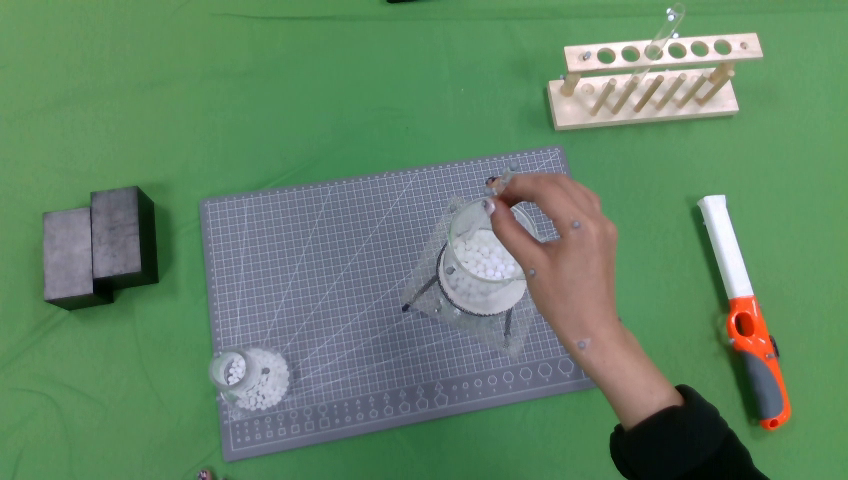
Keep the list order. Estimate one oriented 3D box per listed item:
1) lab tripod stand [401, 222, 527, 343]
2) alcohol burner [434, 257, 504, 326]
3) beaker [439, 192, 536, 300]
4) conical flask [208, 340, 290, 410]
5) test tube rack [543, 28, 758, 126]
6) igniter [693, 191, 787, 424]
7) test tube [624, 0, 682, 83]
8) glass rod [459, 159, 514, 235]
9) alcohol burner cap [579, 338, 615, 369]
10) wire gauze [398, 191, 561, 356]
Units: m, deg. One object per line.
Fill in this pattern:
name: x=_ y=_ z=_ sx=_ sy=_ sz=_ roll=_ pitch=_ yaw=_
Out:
lab tripod stand: x=0.048 y=0.046 z=0.641 sx=0.148 sy=0.132 sz=0.147 roll=1 pitch=75 yaw=-2
alcohol burner: x=0.050 y=0.052 z=0.650 sx=0.078 sy=0.119 sz=0.077 roll=0 pitch=74 yaw=-1
beaker: x=0.053 y=0.012 z=0.532 sx=0.084 sy=0.100 sz=0.074 roll=39 pitch=76 yaw=8
conical flask: x=-0.180 y=0.130 z=0.606 sx=0.075 sy=0.122 sz=0.075 roll=1 pitch=73 yaw=-3
test tube rack: x=0.282 y=-0.202 z=0.758 sx=0.243 sy=0.085 sz=0.066 roll=-6 pitch=73 yaw=-5
igniter: x=0.370 y=0.072 z=0.712 sx=0.057 sy=0.025 sz=0.275 roll=-5 pitch=74 yaw=-16
test tube: x=0.266 y=-0.229 z=0.713 sx=0.017 sy=0.151 sz=0.017 roll=0 pitch=73 yaw=0
glass rod: x=0.045 y=-0.029 z=0.481 sx=0.008 sy=0.200 sz=0.008 roll=1 pitch=78 yaw=-5
alcohol burner cap: x=0.195 y=0.124 z=0.674 sx=0.034 sy=0.048 sz=0.033 roll=1 pitch=72 yaw=-3
wire gauze: x=0.054 y=0.028 z=0.578 sx=0.125 sy=0.011 sz=0.121 roll=27 pitch=76 yaw=3
